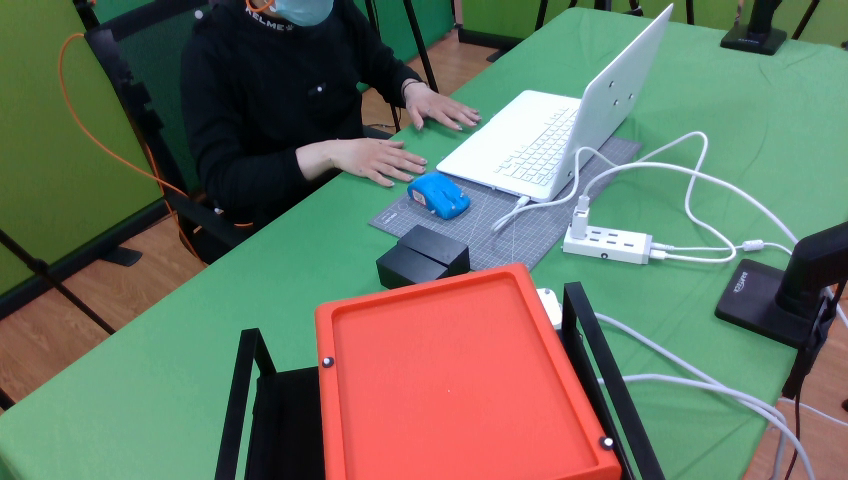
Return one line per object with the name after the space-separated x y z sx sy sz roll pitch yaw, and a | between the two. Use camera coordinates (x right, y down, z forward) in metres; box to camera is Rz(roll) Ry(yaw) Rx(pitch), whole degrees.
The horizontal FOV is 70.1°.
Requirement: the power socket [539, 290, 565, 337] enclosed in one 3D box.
0.081 0.112 0.822 0.227 0.033 0.072 -6 41 0 | power socket

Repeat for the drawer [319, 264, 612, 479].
0.020 0.129 0.497 0.195 0.073 0.210 -11 41 -5 | drawer

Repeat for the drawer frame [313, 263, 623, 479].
0.021 0.130 0.493 0.202 0.083 0.212 -11 41 -6 | drawer frame

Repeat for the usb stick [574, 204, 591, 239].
0.240 -0.023 0.914 0.021 0.059 0.027 -3 33 19 | usb stick

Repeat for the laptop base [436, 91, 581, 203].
0.214 -0.192 1.172 0.233 0.023 0.355 19 46 32 | laptop base

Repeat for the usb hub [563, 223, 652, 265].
0.281 0.005 0.924 0.124 0.025 0.049 10 43 19 | usb hub

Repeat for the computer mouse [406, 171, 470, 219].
0.024 -0.082 1.049 0.063 0.041 0.116 -30 50 -27 | computer mouse

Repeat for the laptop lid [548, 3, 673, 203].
0.320 -0.235 1.026 0.013 0.242 0.357 31 50 20 | laptop lid

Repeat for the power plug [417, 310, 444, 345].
0.007 0.122 0.785 0.035 0.053 0.072 1 39 8 | power plug
